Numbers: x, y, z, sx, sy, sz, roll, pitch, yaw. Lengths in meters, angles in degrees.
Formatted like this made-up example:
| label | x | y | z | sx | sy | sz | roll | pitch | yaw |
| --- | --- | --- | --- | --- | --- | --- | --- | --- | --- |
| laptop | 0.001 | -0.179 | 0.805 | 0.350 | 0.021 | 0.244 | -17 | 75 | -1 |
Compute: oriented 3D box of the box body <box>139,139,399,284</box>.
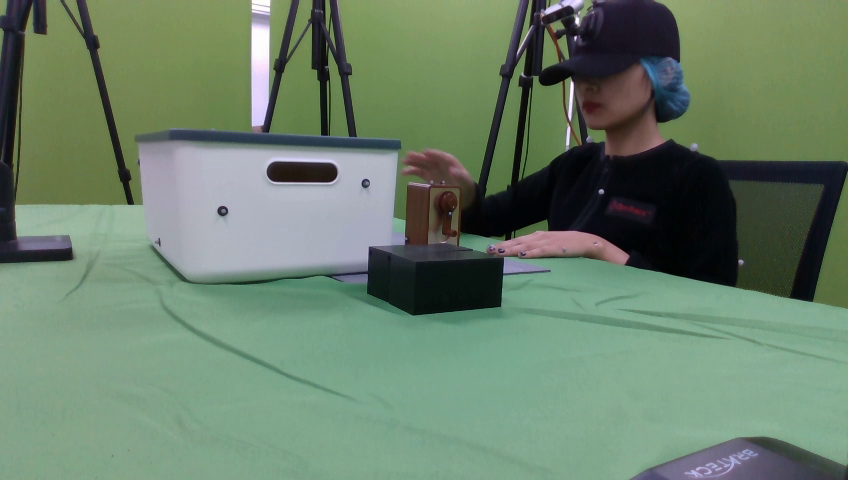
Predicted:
| label | x | y | z | sx | sy | sz | roll | pitch | yaw |
| --- | --- | --- | --- | --- | --- | --- | --- | --- | --- |
| box body | -0.222 | -0.056 | 0.807 | 0.255 | 0.160 | 0.362 | -3 | 9 | -31 |

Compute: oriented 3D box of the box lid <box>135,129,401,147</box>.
| label | x | y | z | sx | sy | sz | roll | pitch | yaw |
| --- | --- | --- | --- | --- | --- | --- | --- | --- | --- |
| box lid | -0.220 | -0.129 | 0.795 | 0.265 | 0.015 | 0.369 | -4 | 9 | -31 |

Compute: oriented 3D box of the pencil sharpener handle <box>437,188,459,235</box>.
| label | x | y | z | sx | sy | sz | roll | pitch | yaw |
| --- | --- | --- | --- | --- | --- | --- | --- | --- | --- |
| pencil sharpener handle | 0.041 | -0.041 | 0.876 | 0.036 | 0.067 | 0.030 | 1 | 7 | -30 |

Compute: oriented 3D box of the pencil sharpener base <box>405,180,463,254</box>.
| label | x | y | z | sx | sy | sz | roll | pitch | yaw |
| --- | --- | --- | --- | --- | --- | --- | --- | --- | --- |
| pencil sharpener base | 0.016 | -0.035 | 0.922 | 0.061 | 0.107 | 0.076 | -2 | 9 | -30 |
